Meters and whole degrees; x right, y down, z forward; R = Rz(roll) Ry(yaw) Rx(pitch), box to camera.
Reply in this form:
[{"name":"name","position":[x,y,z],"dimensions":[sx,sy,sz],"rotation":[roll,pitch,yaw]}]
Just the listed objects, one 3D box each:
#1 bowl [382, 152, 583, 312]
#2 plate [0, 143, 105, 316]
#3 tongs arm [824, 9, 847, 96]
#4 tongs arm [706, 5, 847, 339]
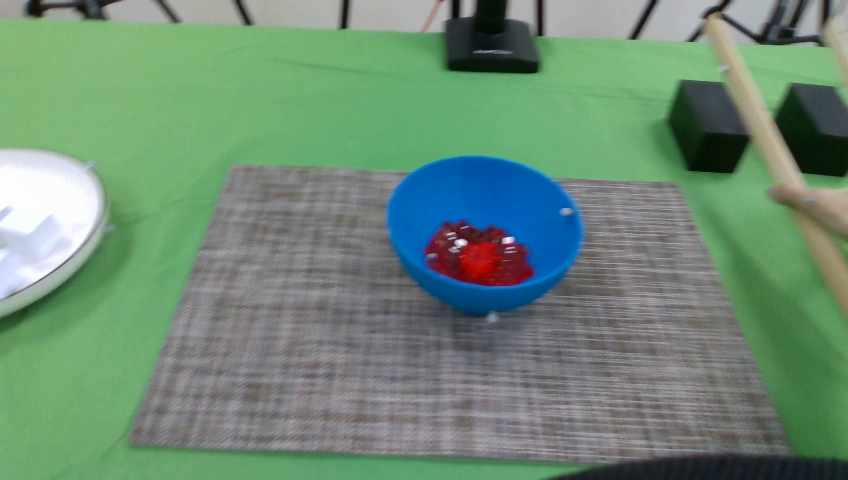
[{"name":"bowl","position":[0.042,0.005,0.486],"dimensions":[0.151,0.077,0.150],"rotation":[2,46,-1]},{"name":"plate","position":[-0.373,-0.003,0.500],"dimensions":[0.209,0.038,0.207],"rotation":[2,46,-2]},{"name":"tongs arm","position":[0.393,-0.067,0.541],"dimensions":[0.051,0.027,0.381],"rotation":[5,61,-2]},{"name":"tongs arm","position":[0.322,-0.069,0.539],"dimensions":[0.028,0.028,0.384],"rotation":[-2,61,-9]}]
